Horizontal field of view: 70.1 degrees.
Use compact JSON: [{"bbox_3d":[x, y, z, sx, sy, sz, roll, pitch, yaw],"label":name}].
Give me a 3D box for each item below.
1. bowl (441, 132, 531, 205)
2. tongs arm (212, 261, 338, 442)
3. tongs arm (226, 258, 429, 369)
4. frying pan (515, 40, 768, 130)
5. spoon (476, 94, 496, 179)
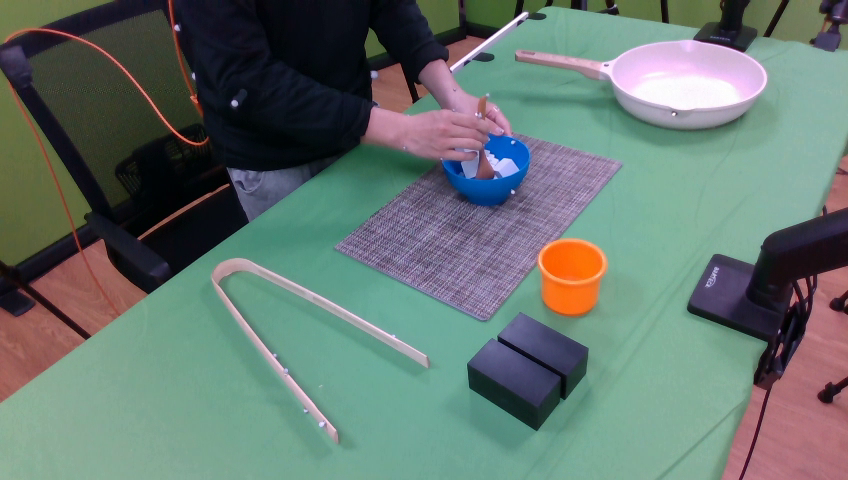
[{"bbox_3d":[0.107,-0.113,1.034,0.151,0.077,0.150,-4,39,4],"label":"bowl"},{"bbox_3d":[-0.208,0.136,0.830,0.051,0.026,0.381,-31,45,-28],"label":"tongs arm"},{"bbox_3d":[-0.150,0.098,0.873,0.384,0.028,0.028,22,50,30],"label":"tongs arm"},{"bbox_3d":[0.423,-0.338,1.236,0.486,0.103,0.307,16,44,13],"label":"frying pan"},{"bbox_3d":[0.095,-0.154,0.969,0.042,0.195,0.021,-24,49,-11],"label":"spoon"}]
